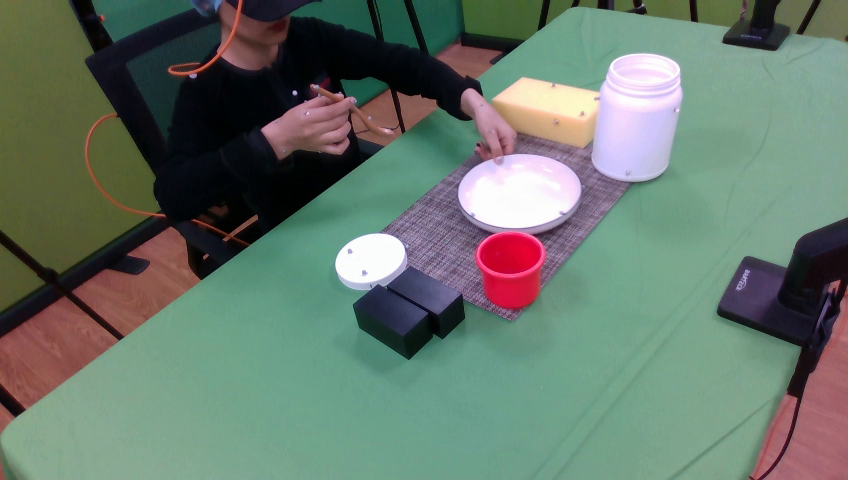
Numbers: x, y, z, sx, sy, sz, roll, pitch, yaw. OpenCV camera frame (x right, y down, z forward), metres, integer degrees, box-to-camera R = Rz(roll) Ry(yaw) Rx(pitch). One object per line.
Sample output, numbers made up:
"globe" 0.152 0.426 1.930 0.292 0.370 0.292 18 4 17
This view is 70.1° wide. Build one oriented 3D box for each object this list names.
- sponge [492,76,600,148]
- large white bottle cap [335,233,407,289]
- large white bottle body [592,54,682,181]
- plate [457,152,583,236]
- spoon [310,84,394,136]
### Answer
"sponge" 0.254 -0.259 1.207 0.205 0.061 0.118 22 47 31
"large white bottle cap" -0.085 0.032 0.961 0.115 0.018 0.114 -6 42 6
"large white bottle body" 0.360 -0.208 1.027 0.130 0.185 0.130 -3 41 3
"plate" 0.160 -0.075 1.019 0.209 0.038 0.208 -5 42 5
"spoon" -0.111 -0.204 0.953 0.041 0.195 0.021 32 93 35
